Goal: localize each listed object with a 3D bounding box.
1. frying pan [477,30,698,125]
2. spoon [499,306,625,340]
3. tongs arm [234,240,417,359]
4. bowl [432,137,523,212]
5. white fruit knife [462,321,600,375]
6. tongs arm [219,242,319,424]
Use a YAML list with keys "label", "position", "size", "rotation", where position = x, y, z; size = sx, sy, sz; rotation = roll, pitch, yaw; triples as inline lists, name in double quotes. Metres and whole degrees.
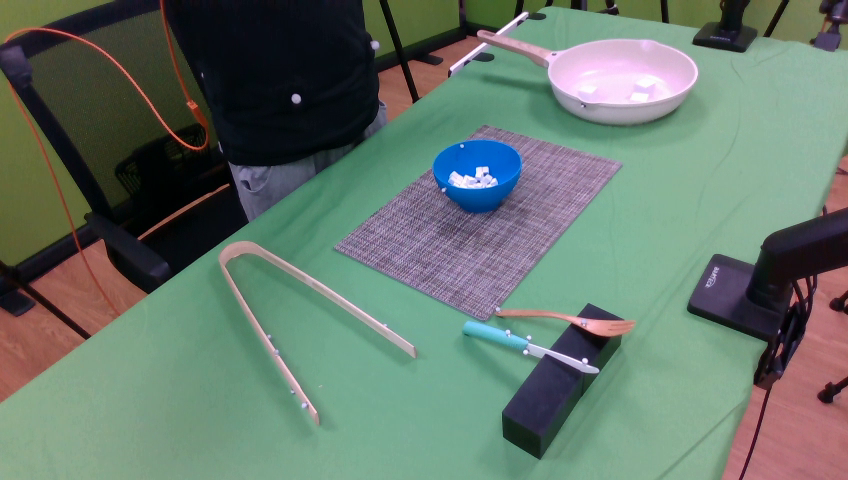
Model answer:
- label: "frying pan"
  position: [0.321, -0.371, 1.290]
  size: [0.484, 0.103, 0.308]
  rotation: [29, 51, 24]
- label: "spoon"
  position: [0.169, 0.102, 0.773]
  size: [0.042, 0.021, 0.192]
  rotation: [-10, 13, -38]
- label: "tongs arm"
  position: [-0.157, 0.078, 0.895]
  size: [0.384, 0.028, 0.028]
  rotation: [26, 53, 33]
- label: "bowl"
  position: [0.091, -0.100, 1.022]
  size: [0.151, 0.077, 0.150]
  rotation: [-4, 41, 4]
- label: "white fruit knife"
  position: [0.126, 0.132, 0.752]
  size: [0.205, 0.027, 0.016]
  rotation: [12, 48, 42]
- label: "tongs arm"
  position: [-0.220, 0.113, 0.856]
  size: [0.051, 0.026, 0.381]
  rotation: [-28, 44, -24]
